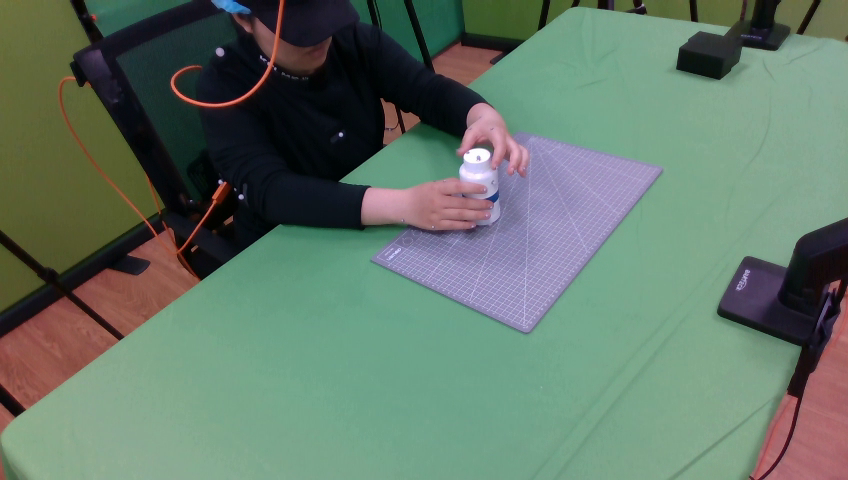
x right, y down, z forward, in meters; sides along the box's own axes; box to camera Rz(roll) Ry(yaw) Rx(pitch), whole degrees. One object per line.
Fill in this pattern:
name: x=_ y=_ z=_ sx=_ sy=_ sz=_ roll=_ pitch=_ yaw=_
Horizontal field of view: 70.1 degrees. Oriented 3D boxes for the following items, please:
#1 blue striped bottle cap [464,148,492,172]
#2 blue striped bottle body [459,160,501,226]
blue striped bottle cap: x=0.085 y=-0.127 z=0.957 sx=0.044 sy=0.021 sz=0.044 roll=-7 pitch=42 yaw=7
blue striped bottle body: x=0.092 y=-0.088 z=0.989 sx=0.063 sy=0.121 sz=0.063 roll=-6 pitch=40 yaw=5
